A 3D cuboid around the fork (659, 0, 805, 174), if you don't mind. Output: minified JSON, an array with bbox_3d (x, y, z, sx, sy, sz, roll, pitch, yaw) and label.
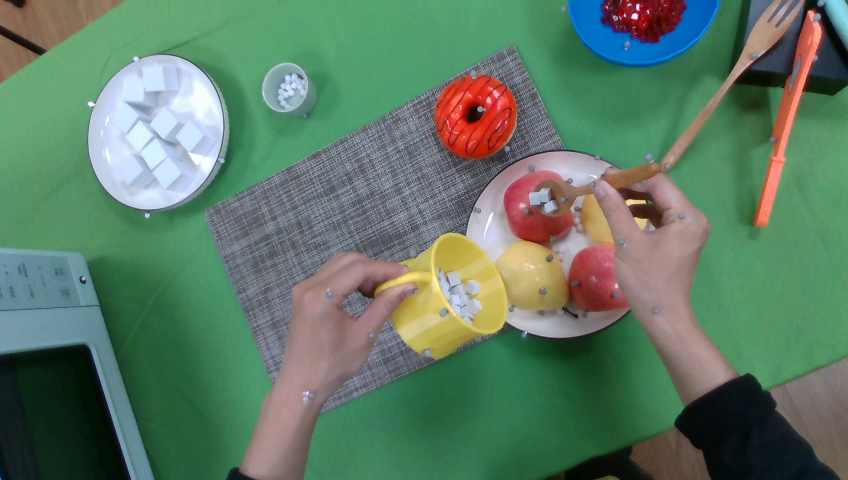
[{"bbox_3d":[0.307,-0.153,0.621,0.028,0.018,0.208,33,116,5],"label":"fork"}]

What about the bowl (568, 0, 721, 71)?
[{"bbox_3d":[0.231,-0.247,0.650,0.151,0.077,0.151,-1,88,14],"label":"bowl"}]

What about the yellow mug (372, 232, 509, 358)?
[{"bbox_3d":[0.011,0.049,0.546,0.064,0.132,0.099,-33,60,36],"label":"yellow mug"}]

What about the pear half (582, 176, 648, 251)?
[{"bbox_3d":[0.199,-0.025,0.649,0.070,0.031,0.088,6,99,38],"label":"pear half"}]

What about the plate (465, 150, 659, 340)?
[{"bbox_3d":[0.150,0.006,0.674,0.208,0.038,0.208,-1,87,14],"label":"plate"}]

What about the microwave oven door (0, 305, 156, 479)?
[{"bbox_3d":[-0.413,0.248,0.681,0.039,0.245,0.354,-23,82,11],"label":"microwave oven door"}]

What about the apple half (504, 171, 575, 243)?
[{"bbox_3d":[0.125,-0.037,0.664,0.074,0.053,0.080,-8,89,14],"label":"apple half"}]

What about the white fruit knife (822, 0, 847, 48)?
[{"bbox_3d":[0.392,-0.251,0.591,0.027,0.016,0.206,-19,80,-17],"label":"white fruit knife"}]

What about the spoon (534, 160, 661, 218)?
[{"bbox_3d":[0.149,-0.045,0.546,0.021,0.193,0.041,-26,94,-13],"label":"spoon"}]

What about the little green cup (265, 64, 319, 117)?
[{"bbox_3d":[-0.164,-0.185,0.764,0.061,0.039,0.061,-1,87,15],"label":"little green cup"}]

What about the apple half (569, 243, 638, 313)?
[{"bbox_3d":[0.184,0.042,0.645,0.081,0.033,0.081,5,99,34],"label":"apple half"}]

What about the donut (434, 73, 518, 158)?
[{"bbox_3d":[0.060,-0.143,0.700,0.099,0.048,0.099,0,89,16],"label":"donut"}]

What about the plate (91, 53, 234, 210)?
[{"bbox_3d":[-0.343,-0.141,0.807,0.207,0.039,0.207,-1,87,14],"label":"plate"}]

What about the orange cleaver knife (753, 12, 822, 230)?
[{"bbox_3d":[0.363,-0.116,0.608,0.012,0.077,0.212,12,116,19],"label":"orange cleaver knife"}]

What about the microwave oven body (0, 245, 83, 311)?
[{"bbox_3d":[-0.559,0.265,0.721,0.326,0.261,0.440,-23,83,11],"label":"microwave oven body"}]

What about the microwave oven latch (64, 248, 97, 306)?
[{"bbox_3d":[-0.465,0.051,0.808,0.030,0.029,0.079,-21,83,11],"label":"microwave oven latch"}]

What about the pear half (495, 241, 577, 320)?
[{"bbox_3d":[0.126,0.051,0.663,0.109,0.056,0.076,39,101,8],"label":"pear half"}]
